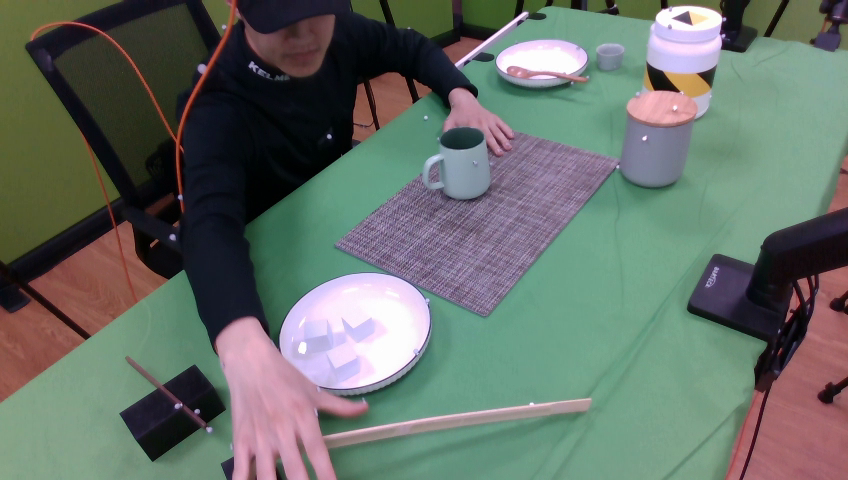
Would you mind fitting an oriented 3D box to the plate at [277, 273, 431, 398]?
[{"bbox_3d":[-0.091,0.129,0.821,0.207,0.039,0.206,-4,40,4],"label":"plate"}]

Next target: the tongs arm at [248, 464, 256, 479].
[{"bbox_3d":[0.012,0.262,0.615,0.385,0.026,0.050,3,42,-2],"label":"tongs arm"}]

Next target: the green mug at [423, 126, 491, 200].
[{"bbox_3d":[0.055,-0.126,1.039,0.126,0.105,0.091,-25,44,-18],"label":"green mug"}]

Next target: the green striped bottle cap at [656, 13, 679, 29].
[{"bbox_3d":[0.515,-0.463,1.278,0.044,0.020,0.044,-6,42,6],"label":"green striped bottle cap"}]

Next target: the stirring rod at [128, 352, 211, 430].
[{"bbox_3d":[-0.311,0.179,0.731,0.175,0.014,0.006,26,54,31],"label":"stirring rod"}]

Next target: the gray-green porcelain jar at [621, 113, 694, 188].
[{"bbox_3d":[0.390,-0.161,1.020,0.106,0.127,0.105,-4,41,4],"label":"gray-green porcelain jar"}]

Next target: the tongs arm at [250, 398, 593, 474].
[{"bbox_3d":[0.008,0.212,0.675,0.389,0.028,0.028,-5,46,-11],"label":"tongs arm"}]

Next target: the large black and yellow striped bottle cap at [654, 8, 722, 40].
[{"bbox_3d":[0.483,-0.397,1.108,0.115,0.019,0.114,-3,41,3],"label":"large black and yellow striped bottle cap"}]

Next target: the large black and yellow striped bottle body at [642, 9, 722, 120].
[{"bbox_3d":[0.493,-0.334,1.161,0.131,0.185,0.130,-4,41,4],"label":"large black and yellow striped bottle body"}]

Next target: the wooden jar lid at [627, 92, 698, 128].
[{"bbox_3d":[0.384,-0.207,0.979,0.108,0.021,0.108,-6,39,5],"label":"wooden jar lid"}]

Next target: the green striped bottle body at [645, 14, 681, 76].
[{"bbox_3d":[0.520,-0.424,1.312,0.063,0.120,0.063,-4,40,4],"label":"green striped bottle body"}]

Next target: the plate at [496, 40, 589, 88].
[{"bbox_3d":[0.268,-0.398,1.381,0.209,0.038,0.208,-4,41,4],"label":"plate"}]

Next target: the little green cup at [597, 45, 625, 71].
[{"bbox_3d":[0.422,-0.413,1.375,0.061,0.039,0.061,-3,41,3],"label":"little green cup"}]

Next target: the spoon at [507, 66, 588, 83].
[{"bbox_3d":[0.265,-0.357,1.311,0.192,0.022,0.042,18,47,38],"label":"spoon"}]
